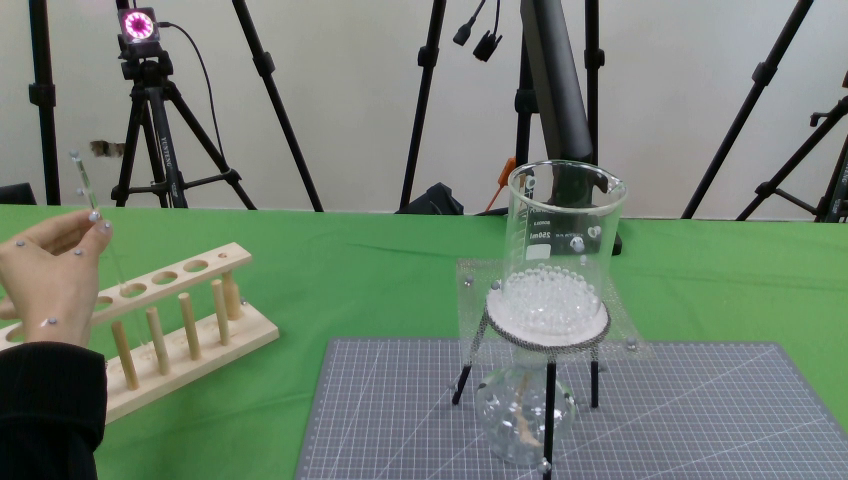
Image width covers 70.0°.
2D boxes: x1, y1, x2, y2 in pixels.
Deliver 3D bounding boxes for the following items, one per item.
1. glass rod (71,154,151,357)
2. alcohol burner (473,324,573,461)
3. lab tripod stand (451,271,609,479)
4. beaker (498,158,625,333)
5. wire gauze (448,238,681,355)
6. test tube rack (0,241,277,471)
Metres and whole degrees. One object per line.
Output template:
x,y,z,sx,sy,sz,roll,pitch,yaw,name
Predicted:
-0.266,0.022,0.519,0.008,0.201,0.008,-3,28,2,glass rod
0.078,0.112,0.469,0.078,0.120,0.077,2,31,-1,alcohol burner
0.088,0.104,0.464,0.148,0.132,0.147,2,32,-1,lab tripod stand
0.090,0.005,0.407,0.084,0.101,0.073,-11,34,-19,beaker
0.092,0.036,0.419,0.125,0.011,0.120,-6,29,-20,wire gauze
-0.257,0.089,0.536,0.243,0.086,0.066,-25,39,-37,test tube rack
